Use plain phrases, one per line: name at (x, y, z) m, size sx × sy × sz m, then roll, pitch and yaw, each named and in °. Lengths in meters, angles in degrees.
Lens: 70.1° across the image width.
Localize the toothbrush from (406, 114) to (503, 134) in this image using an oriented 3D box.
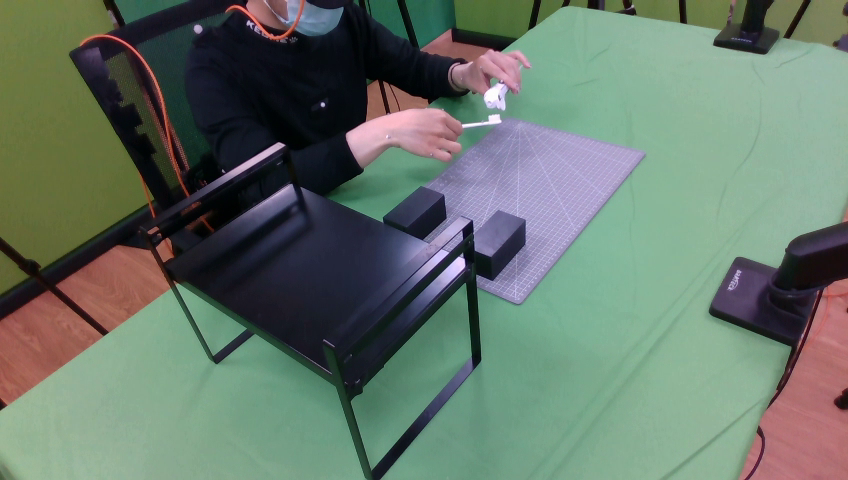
toothbrush at (0.053, -0.210, 1.099) m, size 0.181 × 0.017 × 0.014 m, roll -5°, pitch 19°, yaw 18°

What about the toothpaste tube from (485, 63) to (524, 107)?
toothpaste tube at (0.149, -0.290, 1.137) m, size 0.055 × 0.034 × 0.165 m, roll -35°, pitch 14°, yaw 38°

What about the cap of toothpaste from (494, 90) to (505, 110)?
cap of toothpaste at (0.132, -0.245, 1.060) m, size 0.011 × 0.037 × 0.037 m, roll -13°, pitch 37°, yaw 23°
